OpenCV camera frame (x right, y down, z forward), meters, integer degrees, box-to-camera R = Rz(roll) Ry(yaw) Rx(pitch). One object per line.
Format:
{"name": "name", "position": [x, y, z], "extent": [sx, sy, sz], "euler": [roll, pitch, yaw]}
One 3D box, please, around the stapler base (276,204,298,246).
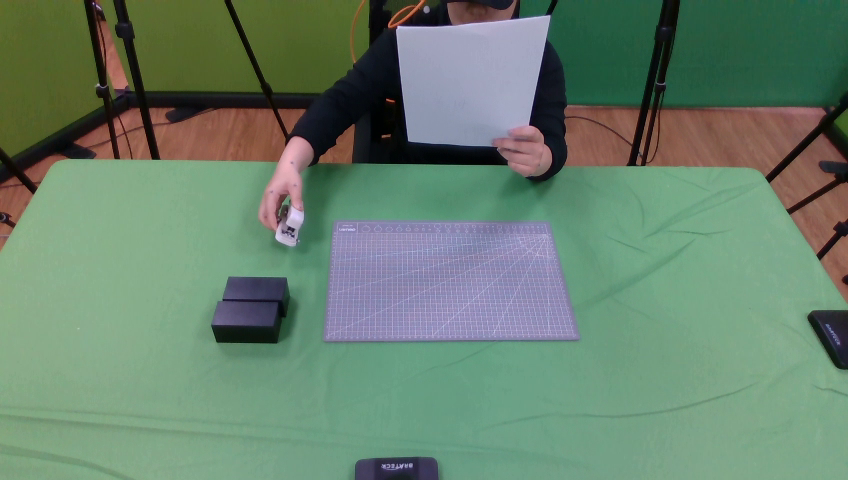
{"name": "stapler base", "position": [-0.257, -0.036, 1.172], "extent": [0.041, 0.024, 0.130], "euler": [27, 23, -22]}

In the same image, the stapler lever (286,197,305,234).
{"name": "stapler lever", "position": [-0.246, -0.054, 1.164], "extent": [0.027, 0.040, 0.117], "euler": [27, 25, -22]}
